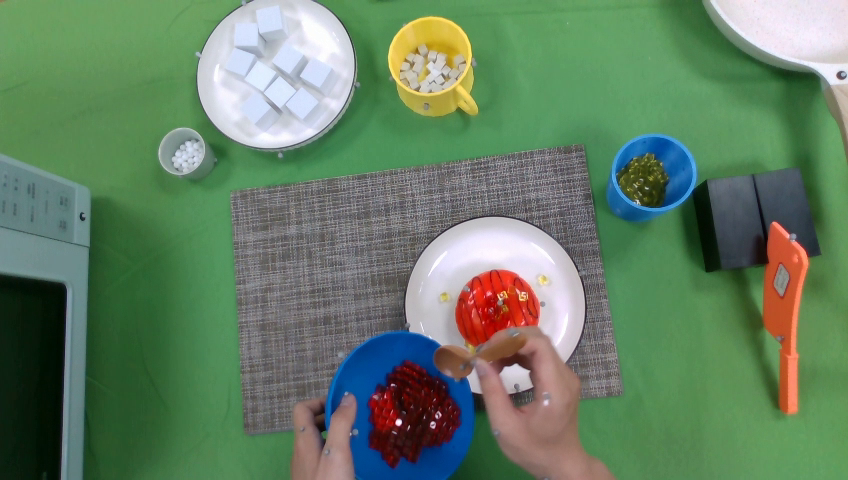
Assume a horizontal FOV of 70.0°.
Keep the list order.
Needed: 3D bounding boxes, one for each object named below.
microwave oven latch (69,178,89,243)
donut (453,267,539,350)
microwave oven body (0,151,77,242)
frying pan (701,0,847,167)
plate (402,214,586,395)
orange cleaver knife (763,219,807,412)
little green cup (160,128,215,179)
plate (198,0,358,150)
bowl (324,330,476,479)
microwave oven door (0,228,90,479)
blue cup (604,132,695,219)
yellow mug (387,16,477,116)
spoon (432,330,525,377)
[{"bbox_3d":[-0.443,-0.036,0.762,0.030,0.029,0.079,-1,82,6],"label":"microwave oven latch"},{"bbox_3d":[0.082,0.080,0.692,0.099,0.048,0.099,-1,85,7],"label":"donut"},{"bbox_3d":[-0.590,0.133,0.655,0.326,0.261,0.440,-4,82,5],"label":"microwave oven body"},{"bbox_3d":[0.458,-0.230,0.678,0.306,0.103,0.485,-2,73,7],"label":"frying pan"},{"bbox_3d":[0.080,0.074,0.704,0.209,0.038,0.208,-1,82,6],"label":"plate"},{"bbox_3d":[0.384,0.083,0.652,0.012,0.077,0.212,-8,109,5],"label":"orange cleaver knife"},{"bbox_3d":[-0.300,-0.108,0.774,0.061,0.039,0.061,-1,82,6],"label":"little green cup"},{"bbox_3d":[-0.184,-0.213,0.780,0.207,0.039,0.207,-1,82,6],"label":"plate"},{"bbox_3d":[-0.033,0.170,0.602,0.152,0.077,0.150,9,69,-23],"label":"bowl"},{"bbox_3d":[-0.444,0.164,0.630,0.039,0.245,0.354,-4,81,6],"label":"microwave oven door"},{"bbox_3d":[0.242,-0.063,0.679,0.092,0.100,0.092,-1,80,5],"label":"blue cup"},{"bbox_3d":[0.019,-0.201,0.742,0.100,0.064,0.130,-44,80,-2],"label":"yellow mug"},{"bbox_3d":[0.045,0.100,0.522,0.041,0.194,0.021,41,70,-1],"label":"spoon"}]
